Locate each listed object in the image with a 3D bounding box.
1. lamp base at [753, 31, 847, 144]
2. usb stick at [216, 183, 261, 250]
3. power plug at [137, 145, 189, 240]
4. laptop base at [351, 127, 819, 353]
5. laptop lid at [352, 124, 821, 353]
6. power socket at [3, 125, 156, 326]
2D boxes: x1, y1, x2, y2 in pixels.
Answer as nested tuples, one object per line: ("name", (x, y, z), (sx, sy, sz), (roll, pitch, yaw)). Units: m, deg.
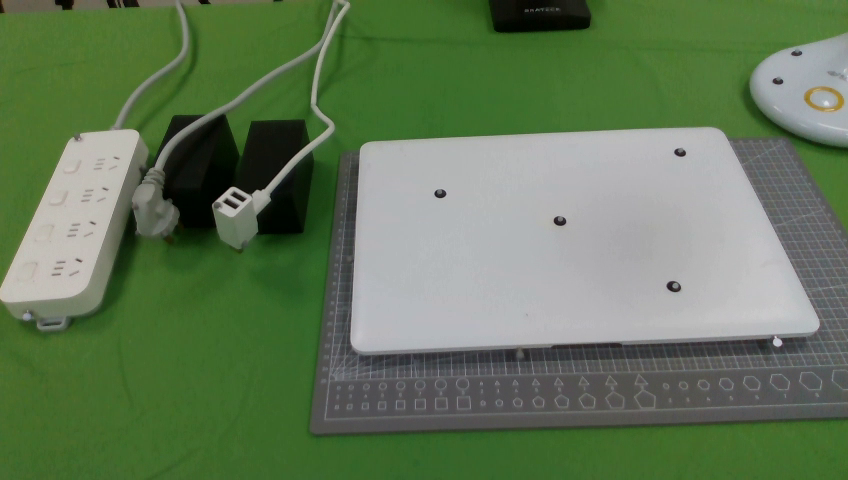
("lamp base", (0.436, -0.213, 0.585), (0.159, 0.182, 0.179), (28, 54, 24))
("usb stick", (-0.148, -0.016, 0.488), (0.021, 0.059, 0.027), (27, 53, 11))
("power plug", (-0.214, -0.037, 0.520), (0.035, 0.053, 0.072), (18, 68, 24))
("laptop base", (0.119, -0.009, 0.526), (0.354, 0.023, 0.233), (-2, 53, 0))
("laptop lid", (0.118, -0.015, 0.516), (0.357, 0.013, 0.239), (-1, 52, 1))
("power socket", (-0.300, -0.026, 0.543), (0.072, 0.033, 0.224), (-3, 49, -2))
